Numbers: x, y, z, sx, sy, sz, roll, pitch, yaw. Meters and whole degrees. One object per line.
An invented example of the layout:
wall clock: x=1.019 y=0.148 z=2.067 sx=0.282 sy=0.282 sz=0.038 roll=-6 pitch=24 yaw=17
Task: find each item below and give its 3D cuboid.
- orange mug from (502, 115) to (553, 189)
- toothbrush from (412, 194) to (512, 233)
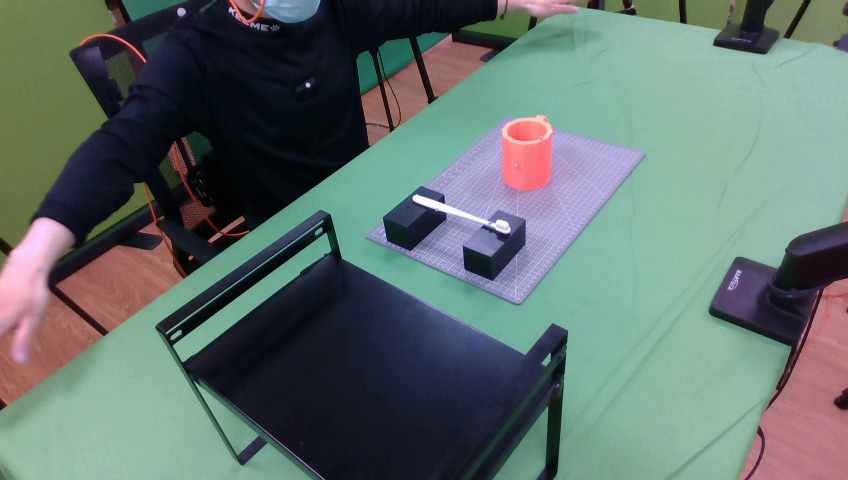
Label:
orange mug: x=0.190 y=-0.164 z=1.071 sx=0.083 sy=0.101 sz=0.126 roll=16 pitch=50 yaw=25
toothbrush: x=0.055 y=-0.044 z=0.936 sx=0.180 sy=0.017 sz=0.014 roll=20 pitch=63 yaw=30
